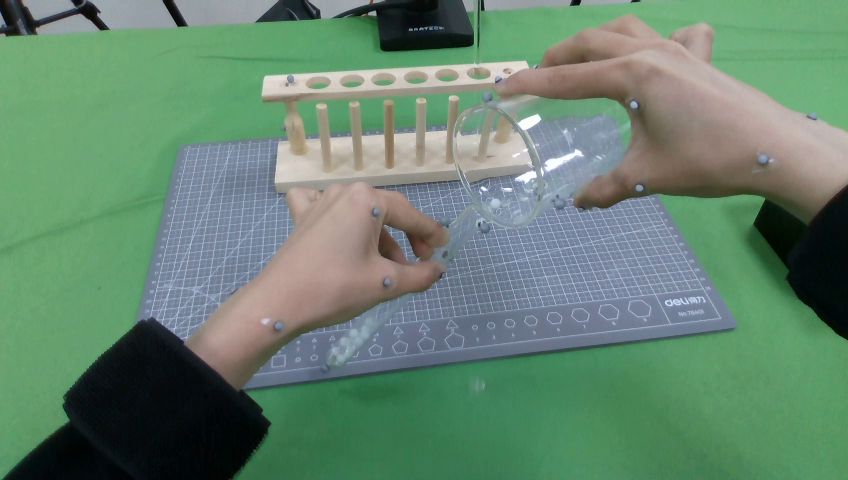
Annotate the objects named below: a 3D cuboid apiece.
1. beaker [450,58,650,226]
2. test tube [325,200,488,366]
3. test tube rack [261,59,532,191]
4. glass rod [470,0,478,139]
[{"bbox_3d":[0.077,-0.060,0.361,0.100,0.084,0.073,-27,65,-26],"label":"beaker"},{"bbox_3d":[-0.015,0.031,0.393,0.150,0.017,0.017,-46,47,17],"label":"test tube"},{"bbox_3d":[-0.022,-0.108,0.567,0.243,0.086,0.066,-5,46,-5],"label":"test tube rack"},{"bbox_3d":[0.045,-0.181,0.547,0.008,0.201,0.008,-2,39,2],"label":"glass rod"}]
